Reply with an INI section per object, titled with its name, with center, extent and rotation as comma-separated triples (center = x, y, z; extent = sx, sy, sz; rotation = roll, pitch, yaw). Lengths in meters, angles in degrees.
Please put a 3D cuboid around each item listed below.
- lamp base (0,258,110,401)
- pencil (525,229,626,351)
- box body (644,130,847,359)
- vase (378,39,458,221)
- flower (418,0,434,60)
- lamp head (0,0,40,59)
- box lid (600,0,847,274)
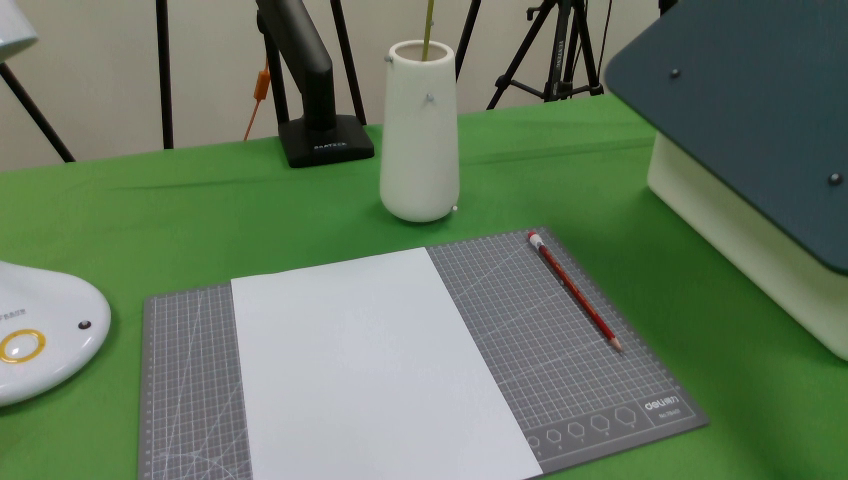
[lamp base]
center = -0.380, 0.017, 0.508
extent = 0.177, 0.182, 0.160
rotation = 26, 43, 31
[pencil]
center = 0.155, 0.047, 0.636
extent = 0.012, 0.012, 0.191
rotation = -12, 41, -17
[box body]
center = 0.451, -0.058, 0.669
extent = 0.255, 0.162, 0.359
rotation = -10, 39, -15
[vase]
center = -0.007, -0.121, 0.696
extent = 0.098, 0.201, 0.097
rotation = 0, 37, 0
[flower]
center = -0.004, -0.173, 0.629
extent = 0.044, 0.364, 0.038
rotation = 27, 56, 9
[lamp head]
center = -0.293, -0.139, 0.317
extent = 0.112, 0.124, 0.111
rotation = -25, 21, 11
[box lid]
center = 0.349, -0.157, 0.540
extent = 0.263, 0.015, 0.367
rotation = -41, 43, 12
